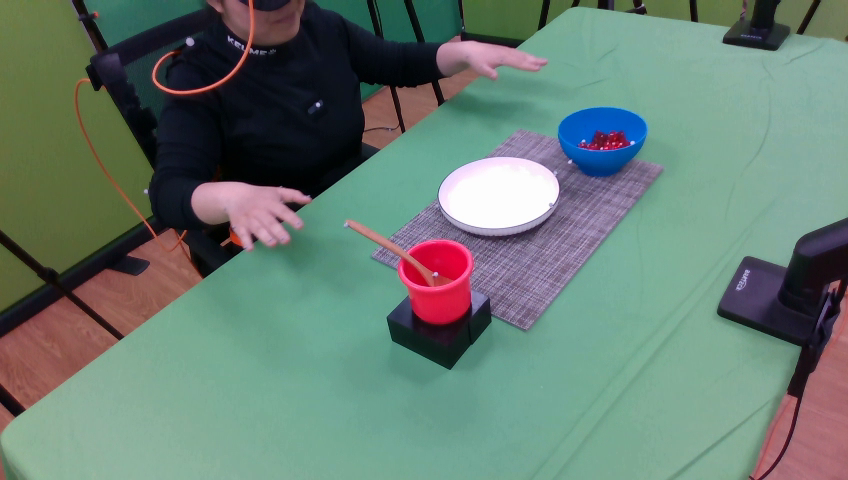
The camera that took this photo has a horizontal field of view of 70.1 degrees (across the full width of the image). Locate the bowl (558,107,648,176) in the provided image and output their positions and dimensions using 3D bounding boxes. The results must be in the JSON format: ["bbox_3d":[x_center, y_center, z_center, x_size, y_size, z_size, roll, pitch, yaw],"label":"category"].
[{"bbox_3d":[0.313,-0.165,1.069,0.151,0.077,0.150,-5,40,5],"label":"bowl"}]

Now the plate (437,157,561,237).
[{"bbox_3d":[0.127,-0.070,1.023,0.207,0.039,0.206,-5,40,5],"label":"plate"}]

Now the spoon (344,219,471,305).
[{"bbox_3d":[-0.020,0.026,0.781,0.194,0.021,0.041,37,43,-14],"label":"spoon"}]
